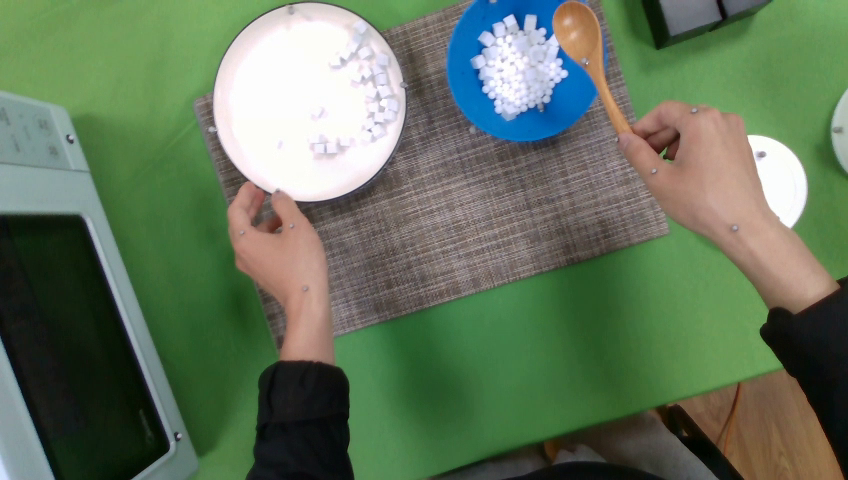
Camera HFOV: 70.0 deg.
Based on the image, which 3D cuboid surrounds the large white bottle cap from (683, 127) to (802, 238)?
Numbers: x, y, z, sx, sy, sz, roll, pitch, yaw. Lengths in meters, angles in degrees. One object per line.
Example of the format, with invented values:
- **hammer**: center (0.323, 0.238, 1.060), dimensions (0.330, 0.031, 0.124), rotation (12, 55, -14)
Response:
- **large white bottle cap**: center (0.330, -0.059, 0.627), dimensions (0.115, 0.018, 0.115), rotation (0, 94, 4)

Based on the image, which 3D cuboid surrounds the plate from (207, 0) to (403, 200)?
- **plate**: center (-0.124, -0.146, 0.647), dimensions (0.209, 0.038, 0.209), rotation (0, 94, 5)

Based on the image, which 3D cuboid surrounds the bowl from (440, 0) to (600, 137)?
- **bowl**: center (0.093, -0.175, 0.606), dimensions (0.151, 0.077, 0.151), rotation (0, 94, 6)

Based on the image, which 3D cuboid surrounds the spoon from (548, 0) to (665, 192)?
- **spoon**: center (0.154, -0.125, 0.513), dimensions (0.041, 0.022, 0.192), rotation (-32, 68, 35)

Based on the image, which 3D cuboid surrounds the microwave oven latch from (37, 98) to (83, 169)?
- **microwave oven latch**: center (-0.405, -0.113, 0.661), dimensions (0.030, 0.029, 0.079), rotation (-21, 93, 6)

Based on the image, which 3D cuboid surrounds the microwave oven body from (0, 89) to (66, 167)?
- **microwave oven body**: center (-0.491, 0.109, 0.587), dimensions (0.326, 0.260, 0.442), rotation (-20, 92, 5)

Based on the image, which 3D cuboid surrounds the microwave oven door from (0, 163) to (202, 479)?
- **microwave oven door**: center (-0.340, 0.098, 0.568), dimensions (0.039, 0.244, 0.356), rotation (-21, 92, 6)

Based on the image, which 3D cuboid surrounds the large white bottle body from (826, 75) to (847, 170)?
- **large white bottle body**: center (0.464, -0.117, 0.527), dimensions (0.130, 0.184, 0.130), rotation (0, 93, 5)
